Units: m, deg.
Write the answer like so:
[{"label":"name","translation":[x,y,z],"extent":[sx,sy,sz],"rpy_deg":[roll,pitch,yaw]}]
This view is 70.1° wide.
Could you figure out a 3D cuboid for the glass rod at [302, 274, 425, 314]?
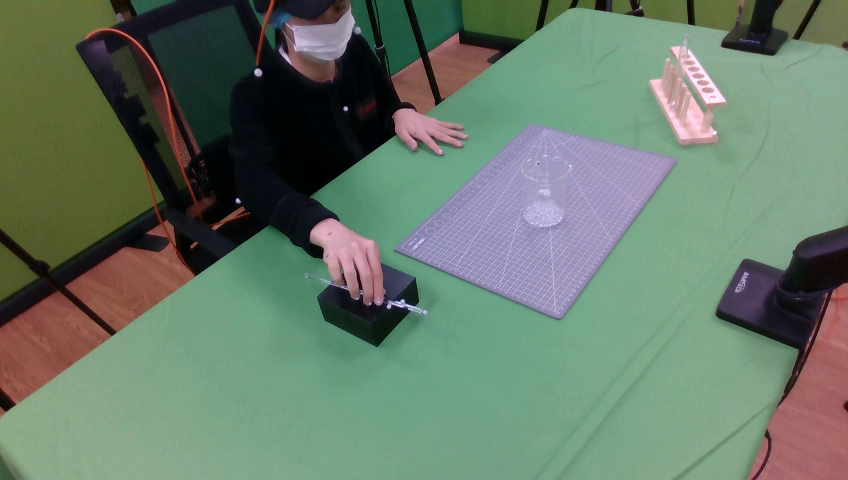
[{"label":"glass rod","translation":[-0.088,0.073,0.833],"extent":[0.198,0.008,0.008],"rpy_deg":[14,44,23]}]

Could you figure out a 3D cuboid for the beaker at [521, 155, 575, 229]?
[{"label":"beaker","translation":[0.197,-0.075,0.969],"extent":[0.084,0.101,0.073],"rpy_deg":[-6,40,2]}]

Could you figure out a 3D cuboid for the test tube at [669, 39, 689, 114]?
[{"label":"test tube","translation":[0.482,-0.308,1.146],"extent":[0.017,0.151,0.017],"rpy_deg":[-5,42,5]}]

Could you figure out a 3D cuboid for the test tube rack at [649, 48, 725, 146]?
[{"label":"test tube rack","translation":[0.508,-0.285,1.186],"extent":[0.067,0.085,0.241],"rpy_deg":[-4,40,6]}]
